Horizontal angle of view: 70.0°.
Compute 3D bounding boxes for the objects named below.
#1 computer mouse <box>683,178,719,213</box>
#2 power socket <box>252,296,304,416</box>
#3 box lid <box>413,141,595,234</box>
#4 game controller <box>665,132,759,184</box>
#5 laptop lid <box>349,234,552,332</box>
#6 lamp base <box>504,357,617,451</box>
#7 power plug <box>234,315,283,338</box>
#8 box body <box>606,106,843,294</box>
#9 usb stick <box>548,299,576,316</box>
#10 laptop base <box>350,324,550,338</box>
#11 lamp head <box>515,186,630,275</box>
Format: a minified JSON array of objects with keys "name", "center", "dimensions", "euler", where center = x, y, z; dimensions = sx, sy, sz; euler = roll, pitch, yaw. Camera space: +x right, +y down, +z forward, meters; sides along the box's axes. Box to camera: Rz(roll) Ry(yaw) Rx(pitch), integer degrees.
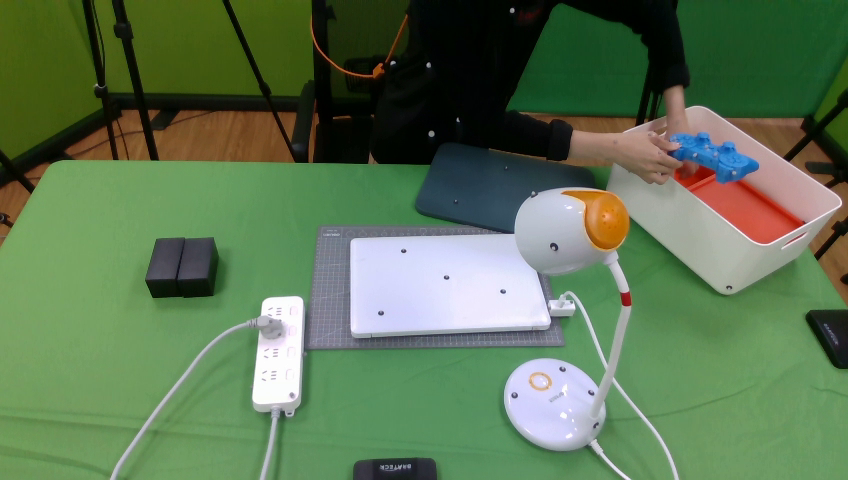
[{"name":"computer mouse","center":[0.596,-0.078,1.291],"dimensions":[0.117,0.041,0.063],"euler":[56,46,-7]},{"name":"power socket","center":[-0.238,0.181,0.997],"dimensions":[0.072,0.033,0.225],"euler":[-3,47,-5]},{"name":"box lid","center":[0.183,-0.108,1.324],"dimensions":[0.371,0.015,0.262],"euler":[13,46,8]},{"name":"game controller","center":[0.512,-0.156,1.090],"dimensions":[0.097,0.052,0.154],"euler":[-33,48,-29]},{"name":"laptop lid","center":[0.040,0.071,1.118],"dimensions":[0.357,0.013,0.240],"euler":[0,44,-5]},{"name":"lamp base","center":[0.220,0.211,0.903],"dimensions":[0.160,0.181,0.178],"euler":[-33,59,-30]},{"name":"power plug","center":[-0.269,0.143,1.000],"dimensions":[0.072,0.053,0.035],"euler":[4,47,2]},{"name":"box body","center":[0.582,-0.088,1.230],"dimensions":[0.254,0.161,0.361],"euler":[-22,52,-23]},{"name":"usb stick","center":[0.239,0.121,1.084],"dimensions":[0.059,0.027,0.021],"euler":[-1,51,-1]},{"name":"laptop base","center":[0.039,0.081,1.125],"dimensions":[0.355,0.023,0.234],"euler":[-2,43,-6]},{"name":"lamp head","center":[0.188,-0.013,0.728],"dimensions":[0.112,0.112,0.122],"euler":[-25,9,-25]}]
